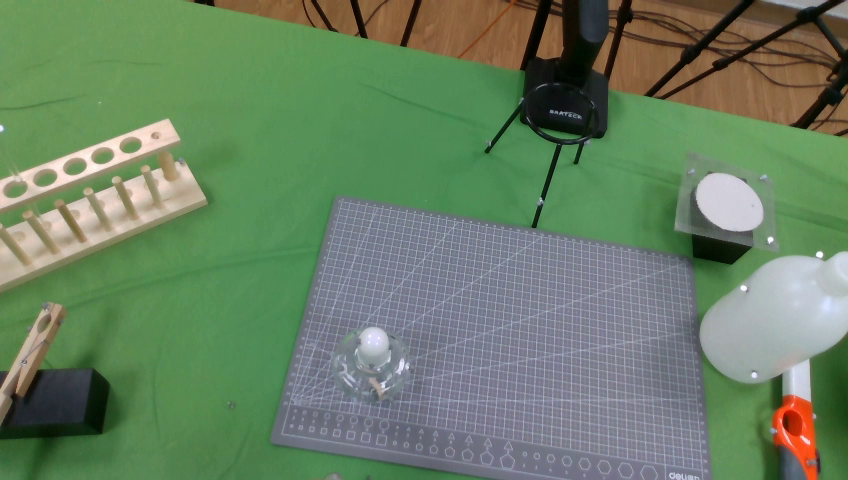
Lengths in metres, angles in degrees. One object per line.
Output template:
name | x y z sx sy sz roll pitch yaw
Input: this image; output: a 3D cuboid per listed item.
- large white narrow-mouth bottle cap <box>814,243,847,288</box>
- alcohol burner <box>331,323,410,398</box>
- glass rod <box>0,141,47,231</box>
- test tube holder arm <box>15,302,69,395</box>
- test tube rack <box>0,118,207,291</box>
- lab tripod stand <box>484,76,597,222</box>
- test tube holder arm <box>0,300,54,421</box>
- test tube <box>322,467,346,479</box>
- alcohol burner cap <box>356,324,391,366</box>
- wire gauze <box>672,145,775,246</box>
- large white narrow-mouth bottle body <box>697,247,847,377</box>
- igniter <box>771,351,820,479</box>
large white narrow-mouth bottle cap | 0.379 0.023 0.551 0.038 0.024 0.037 3 60 -5
alcohol burner | -0.051 0.111 0.590 0.078 0.120 0.077 4 59 -7
glass rod | -0.404 -0.071 0.589 0.008 0.201 0.008 5 51 -6
test tube holder arm | -0.356 0.099 0.560 0.010 0.015 0.087 13 59 0
test tube rack | -0.371 -0.038 0.651 0.242 0.086 0.066 -27 68 -20
lab tripod stand | 0.147 -0.116 0.734 0.149 0.132 0.147 4 62 -7
test tube holder arm | -0.370 0.135 0.537 0.013 0.015 0.177 12 59 0
test tube | -0.062 0.213 0.476 0.017 0.151 0.017 0 49 1
alcohol burner cap | -0.047 0.095 0.557 0.034 0.048 0.033 1 65 -2
wire gauze | 0.368 -0.055 0.743 0.121 0.011 0.124 16 60 2
large white narrow-mouth bottle body | 0.371 0.067 0.625 0.102 0.196 0.101 3 60 -5
igniter | 0.405 0.177 0.664 0.057 0.025 0.274 24 60 -8
